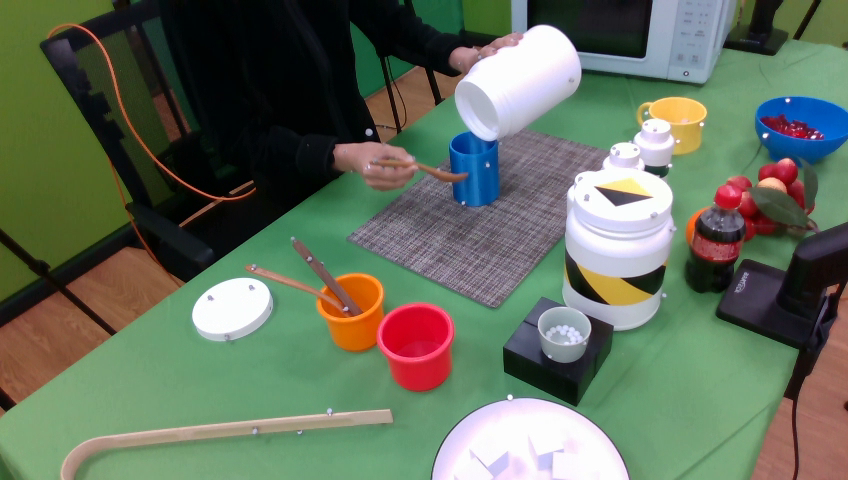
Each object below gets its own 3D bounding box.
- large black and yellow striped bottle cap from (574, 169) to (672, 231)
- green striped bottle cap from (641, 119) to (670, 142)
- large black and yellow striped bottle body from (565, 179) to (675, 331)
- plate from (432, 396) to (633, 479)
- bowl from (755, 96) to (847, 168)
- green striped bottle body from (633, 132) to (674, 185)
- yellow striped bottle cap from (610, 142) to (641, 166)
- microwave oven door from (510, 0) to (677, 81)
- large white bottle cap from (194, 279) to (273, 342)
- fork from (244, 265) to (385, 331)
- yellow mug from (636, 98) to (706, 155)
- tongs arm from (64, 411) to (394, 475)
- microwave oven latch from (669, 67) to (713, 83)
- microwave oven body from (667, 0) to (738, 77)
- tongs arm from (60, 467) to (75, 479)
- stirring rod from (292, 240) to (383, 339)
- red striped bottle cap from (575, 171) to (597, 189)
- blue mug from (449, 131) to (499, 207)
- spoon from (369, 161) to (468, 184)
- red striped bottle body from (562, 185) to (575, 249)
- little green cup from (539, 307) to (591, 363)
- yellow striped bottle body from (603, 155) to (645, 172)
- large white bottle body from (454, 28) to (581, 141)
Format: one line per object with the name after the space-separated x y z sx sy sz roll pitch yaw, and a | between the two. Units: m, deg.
0.242 -0.051 0.738 0.115 0.019 0.114 -4 37 3 | large black and yellow striped bottle cap
0.371 -0.175 0.968 0.044 0.020 0.044 -4 42 4 | green striped bottle cap
0.254 0.014 0.793 0.131 0.185 0.130 -5 40 4 | large black and yellow striped bottle body
0.112 0.261 0.634 0.209 0.038 0.208 -5 40 4 | plate
0.645 -0.177 1.041 0.151 0.077 0.150 -5 40 4 | bowl
0.376 -0.135 1.001 0.063 0.120 0.063 -5 40 5 | green striped bottle body
0.308 -0.131 0.925 0.044 0.019 0.044 -4 46 5 | yellow striped bottle cap
0.354 -0.478 1.290 0.353 0.245 0.039 15 45 25 | microwave oven door
-0.284 0.103 0.902 0.115 0.018 0.114 -4 40 4 | large white bottle cap
-0.142 0.078 0.806 0.209 0.018 0.028 30 32 -23 | fork
0.453 -0.217 1.128 0.100 0.064 0.129 -34 46 -27 | yellow mug
-0.228 0.241 0.715 0.385 0.026 0.050 -5 44 5 | tongs arm
0.556 -0.348 1.261 0.078 0.029 0.030 16 46 27 | microwave oven latch
0.462 -0.552 1.369 0.439 0.261 0.326 15 45 26 | microwave oven body
-0.239 0.301 0.649 0.386 0.028 0.028 6 49 17 | tongs arm
-0.118 0.068 0.825 0.176 0.006 0.014 48 59 -4 | stirring rod
0.242 -0.081 0.876 0.044 0.018 0.044 -5 44 5 | red striped bottle cap
0.088 -0.132 1.049 0.082 0.106 0.116 0 40 8 | blue mug
-0.006 -0.106 0.922 0.195 0.021 0.041 8 -4 -42 | spoon
0.247 -0.041 0.910 0.063 0.120 0.062 0 38 1 | red striped bottle body
0.167 0.114 0.721 0.061 0.039 0.061 -4 43 4 | little green cup
0.314 -0.091 0.958 0.063 0.121 0.062 -4 40 4 | yellow striped bottle body
0.153 -0.254 1.001 0.185 0.131 0.129 -36 47 -22 | large white bottle body
